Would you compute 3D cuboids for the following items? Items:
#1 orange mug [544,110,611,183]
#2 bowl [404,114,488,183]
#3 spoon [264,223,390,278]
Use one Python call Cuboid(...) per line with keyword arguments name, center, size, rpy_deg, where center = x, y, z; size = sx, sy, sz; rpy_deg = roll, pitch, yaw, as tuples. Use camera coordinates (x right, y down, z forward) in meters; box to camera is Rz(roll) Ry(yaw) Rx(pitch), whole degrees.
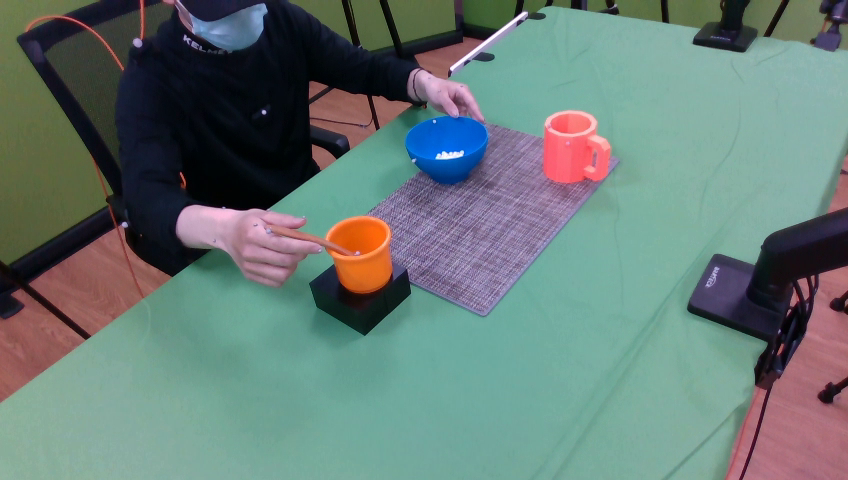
Cuboid(name="orange mug", center=(0.266, -0.157, 1.049), size=(0.084, 0.101, 0.125), rpy_deg=(-33, 42, -26))
Cuboid(name="bowl", center=(0.043, -0.156, 1.095), size=(0.151, 0.077, 0.150), rpy_deg=(-4, 41, 4))
Cuboid(name="spoon", center=(-0.122, 0.010, 0.798), size=(0.021, 0.195, 0.041), rpy_deg=(-37, 46, 29))
